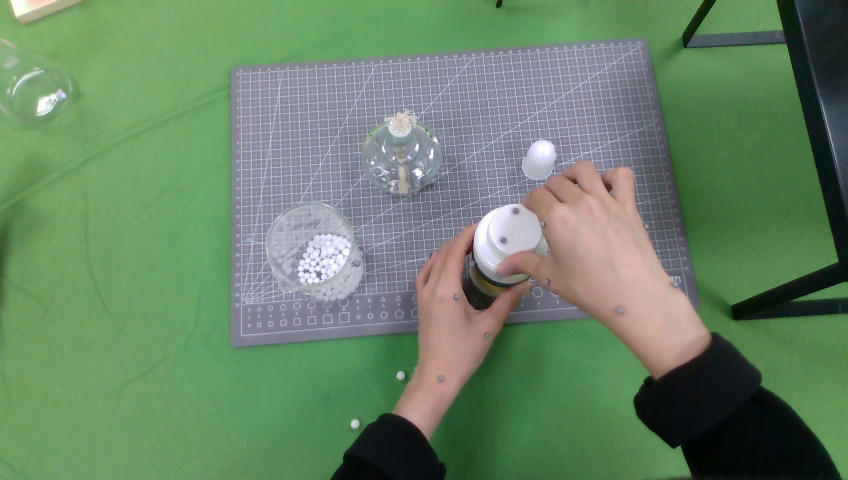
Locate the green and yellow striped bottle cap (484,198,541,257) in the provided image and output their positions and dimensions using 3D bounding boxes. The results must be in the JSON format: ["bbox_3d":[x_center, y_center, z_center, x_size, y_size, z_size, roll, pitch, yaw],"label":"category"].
[{"bbox_3d":[0.071,-0.010,0.484,0.045,0.020,0.045,0,75,-1],"label":"green and yellow striped bottle cap"}]

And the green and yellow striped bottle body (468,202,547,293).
[{"bbox_3d":[0.073,0.006,0.538,0.063,0.120,0.063,0,74,1],"label":"green and yellow striped bottle body"}]

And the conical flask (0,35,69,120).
[{"bbox_3d":[-0.413,-0.176,0.588,0.075,0.122,0.075,0,74,1],"label":"conical flask"}]

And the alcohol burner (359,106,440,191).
[{"bbox_3d":[-0.023,-0.091,0.567,0.078,0.119,0.077,0,73,-1],"label":"alcohol burner"}]

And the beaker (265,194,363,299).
[{"bbox_3d":[-0.096,0.014,0.547,0.074,0.101,0.083,25,77,8],"label":"beaker"}]

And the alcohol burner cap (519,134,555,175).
[{"bbox_3d":[0.114,-0.088,0.603,0.034,0.048,0.033,0,74,-1],"label":"alcohol burner cap"}]

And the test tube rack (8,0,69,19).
[{"bbox_3d":[-0.352,-0.333,0.648,0.242,0.085,0.066,-25,76,-6],"label":"test tube rack"}]
